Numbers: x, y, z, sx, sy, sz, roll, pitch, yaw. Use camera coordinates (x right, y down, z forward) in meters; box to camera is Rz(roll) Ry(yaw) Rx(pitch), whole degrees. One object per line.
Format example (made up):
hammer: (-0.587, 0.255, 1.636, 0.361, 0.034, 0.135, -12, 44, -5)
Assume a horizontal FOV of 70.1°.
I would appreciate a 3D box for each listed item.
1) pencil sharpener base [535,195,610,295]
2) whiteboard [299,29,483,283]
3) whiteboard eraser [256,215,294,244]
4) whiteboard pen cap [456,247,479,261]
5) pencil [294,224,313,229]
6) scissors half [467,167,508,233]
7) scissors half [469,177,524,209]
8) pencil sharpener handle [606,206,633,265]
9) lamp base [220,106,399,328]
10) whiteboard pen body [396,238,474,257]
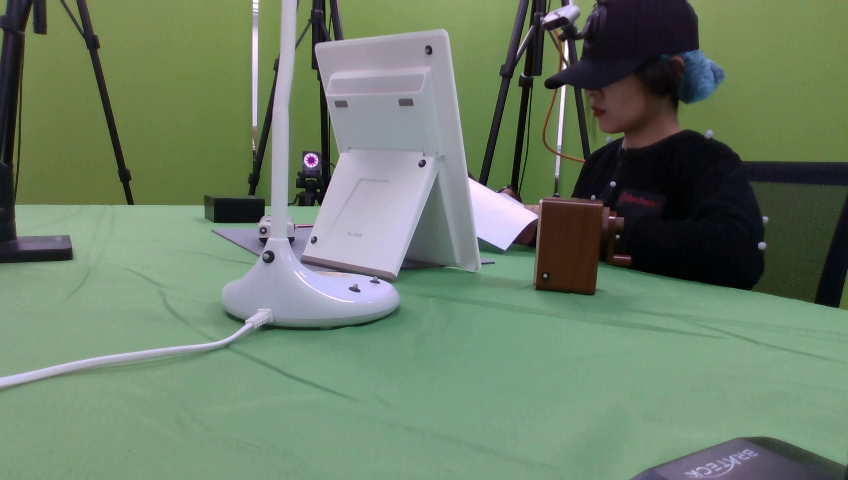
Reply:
pencil sharpener base: (0.172, 0.005, 0.696, 0.076, 0.107, 0.061, 5, 7, 16)
whiteboard: (-0.074, -0.082, 0.742, 0.216, 0.305, 0.144, 9, 30, 38)
whiteboard eraser: (-0.232, -0.016, 0.951, 0.056, 0.042, 0.112, 2, 7, -12)
whiteboard pen cap: (0.060, 0.020, 0.851, 0.033, 0.018, 0.018, 10, 10, 37)
pencil: (-0.221, -0.028, 1.211, 0.195, 0.012, 0.012, -5, 10, -34)
scissors half: (0.106, -0.085, 1.151, 0.040, 0.175, 0.012, -37, 17, -13)
scissors half: (0.120, -0.104, 1.155, 0.176, 0.040, 0.013, 21, -6, -22)
pencil sharpener handle: (0.223, -0.004, 0.683, 0.030, 0.068, 0.036, 5, 20, 17)
lamp base: (-0.101, -0.023, 0.531, 0.160, 0.180, 0.179, 4, 10, 10)
whiteboard pen body: (0.014, 0.012, 0.886, 0.140, 0.017, 0.017, 9, 10, 38)
